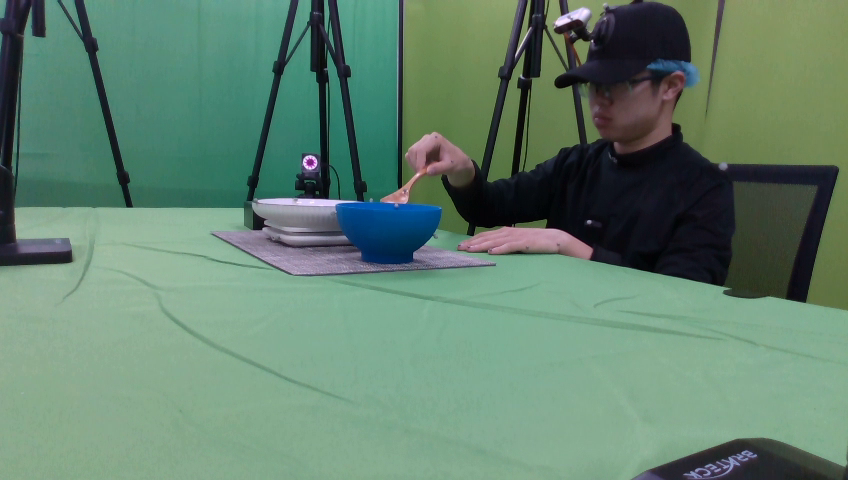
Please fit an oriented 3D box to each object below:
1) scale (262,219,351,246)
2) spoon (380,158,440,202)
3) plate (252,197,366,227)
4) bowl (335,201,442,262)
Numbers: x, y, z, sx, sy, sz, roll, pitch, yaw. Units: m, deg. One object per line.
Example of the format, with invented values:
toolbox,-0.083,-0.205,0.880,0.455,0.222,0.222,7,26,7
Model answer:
scale,-0.160,-0.015,1.027,0.202,0.031,0.148,-2,8,-32
spoon,-0.016,-0.101,1.014,0.041,0.021,0.194,8,35,27
plate,-0.178,-0.047,1.012,0.209,0.038,0.209,2,6,0
bowl,-0.051,-0.012,0.849,0.151,0.077,0.151,2,7,0
